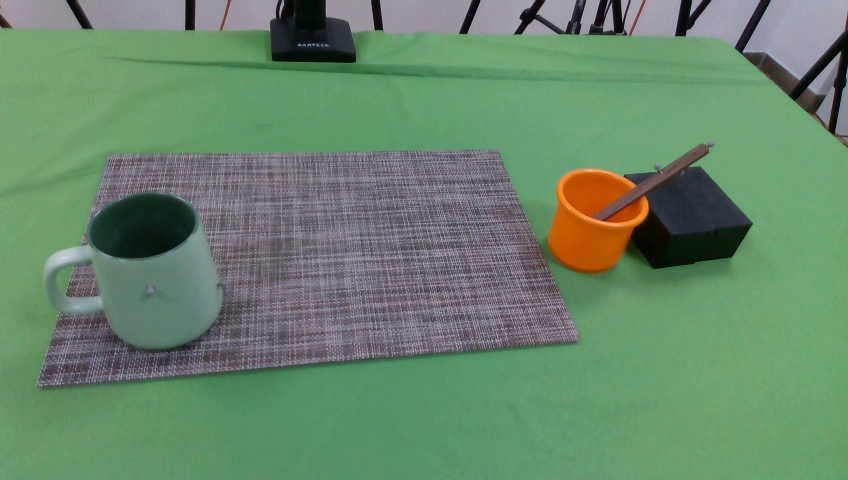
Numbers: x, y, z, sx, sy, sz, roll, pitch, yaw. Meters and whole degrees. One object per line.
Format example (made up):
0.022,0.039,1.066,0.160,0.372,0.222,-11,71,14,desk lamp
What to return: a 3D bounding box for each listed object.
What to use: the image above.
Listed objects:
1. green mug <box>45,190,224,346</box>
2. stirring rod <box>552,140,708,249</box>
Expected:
-0.230,0.027,0.485,0.126,0.106,0.091,-12,47,-20,green mug
0.205,-0.044,0.611,0.176,0.006,0.014,-36,50,16,stirring rod
